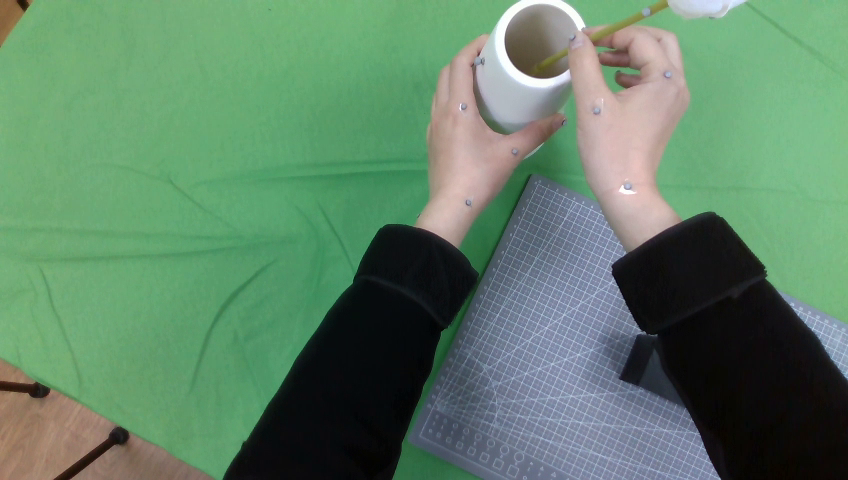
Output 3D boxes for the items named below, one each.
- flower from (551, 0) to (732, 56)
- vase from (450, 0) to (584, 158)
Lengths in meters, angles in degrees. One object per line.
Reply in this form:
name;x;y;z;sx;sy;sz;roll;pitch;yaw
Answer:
flower;0.100;-0.141;0.450;0.038;0.360;0.044;45;75;-15
vase;0.079;-0.138;0.531;0.098;0.200;0.098;0;84;-4
